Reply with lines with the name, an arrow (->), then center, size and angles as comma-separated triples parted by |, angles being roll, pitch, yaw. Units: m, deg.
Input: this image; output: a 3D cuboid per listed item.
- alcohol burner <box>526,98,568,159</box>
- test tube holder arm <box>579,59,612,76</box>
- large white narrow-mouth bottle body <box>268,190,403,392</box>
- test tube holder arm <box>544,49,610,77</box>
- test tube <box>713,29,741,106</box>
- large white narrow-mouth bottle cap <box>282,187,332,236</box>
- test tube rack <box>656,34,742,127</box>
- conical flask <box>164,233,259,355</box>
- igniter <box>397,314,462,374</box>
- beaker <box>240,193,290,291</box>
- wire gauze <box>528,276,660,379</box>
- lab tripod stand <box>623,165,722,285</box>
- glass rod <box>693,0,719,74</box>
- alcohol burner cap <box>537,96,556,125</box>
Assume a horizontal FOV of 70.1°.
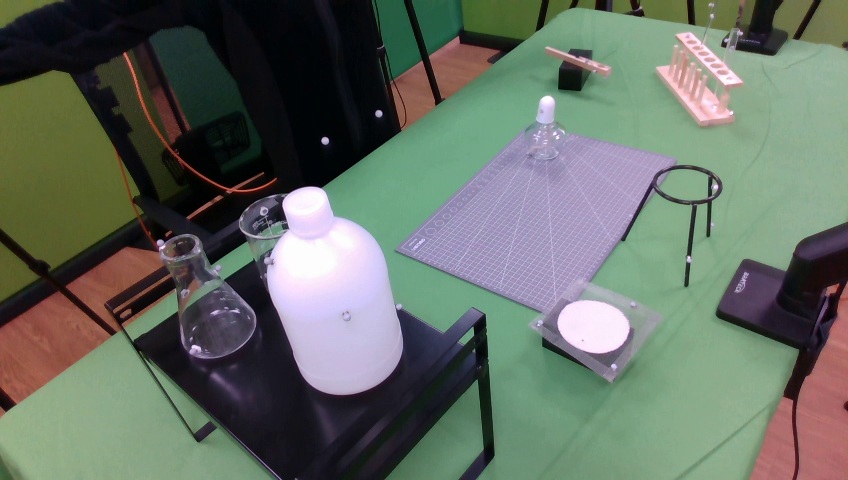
alcohol burner -> 0.228, -0.210, 1.118 | 0.078, 0.119, 0.077 | -5, 43, 5
test tube holder arm -> 0.362, -0.368, 1.289 | 0.010, 0.015, 0.087 | -25, 43, -31
large white narrow-mouth bottle body -> -0.081, 0.042, 0.534 | 0.102, 0.195, 0.101 | -5, 41, 5
test tube holder arm -> 0.330, -0.387, 1.314 | 0.013, 0.015, 0.177 | -25, 43, -31
test tube -> 0.572, -0.324, 1.146 | 0.017, 0.151, 0.017 | -3, 40, 3
large white narrow-mouth bottle cap -> -0.092, -0.022, 0.478 | 0.038, 0.024, 0.037 | -5, 40, 5
test tube rack -> 0.553, -0.330, 1.233 | 0.067, 0.085, 0.241 | -7, 40, 2
conical flask -> -0.216, 0.051, 0.601 | 0.075, 0.122, 0.075 | -4, 40, 4
igniter -> -0.059, 0.107, 0.862 | 0.274, 0.025, 0.057 | 28, 62, 34
beaker -> -0.144, 0.009, 0.656 | 0.084, 0.101, 0.073 | -25, 43, -20
wire gauze -> 0.214, 0.103, 0.763 | 0.124, 0.011, 0.122 | 30, 52, 35
lab tripod stand -> 0.365, -0.030, 0.874 | 0.148, 0.132, 0.147 | -6, 41, 6
glass rod -> 0.560, -0.401, 1.214 | 0.008, 0.200, 0.008 | -1, 48, 2
alcohol burner cap -> 0.223, -0.237, 1.095 | 0.034, 0.048, 0.033 | 0, 42, 1
